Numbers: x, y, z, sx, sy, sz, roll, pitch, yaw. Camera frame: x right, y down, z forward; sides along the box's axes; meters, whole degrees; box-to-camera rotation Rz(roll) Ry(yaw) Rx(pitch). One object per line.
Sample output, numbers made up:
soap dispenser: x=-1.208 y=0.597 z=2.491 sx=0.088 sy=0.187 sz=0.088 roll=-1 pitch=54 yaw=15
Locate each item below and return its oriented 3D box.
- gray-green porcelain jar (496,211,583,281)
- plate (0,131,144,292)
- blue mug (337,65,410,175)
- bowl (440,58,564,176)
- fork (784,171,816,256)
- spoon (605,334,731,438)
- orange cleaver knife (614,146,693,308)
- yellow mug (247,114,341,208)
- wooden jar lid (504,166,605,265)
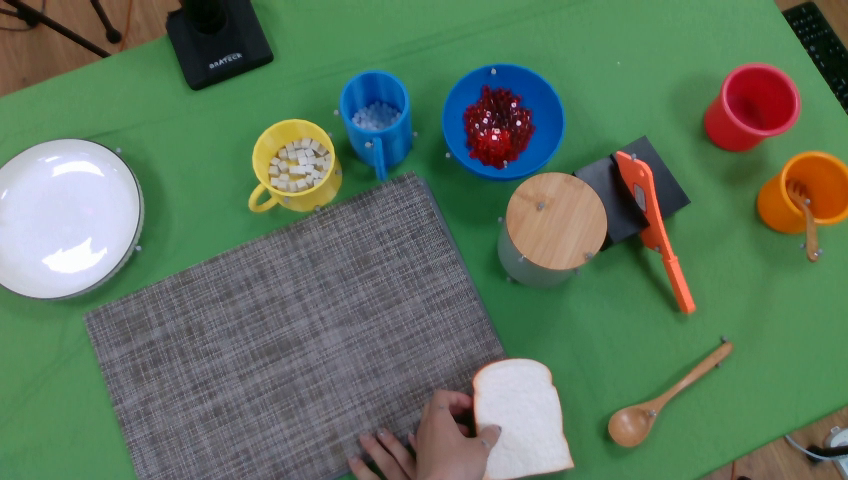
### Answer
gray-green porcelain jar: x=0.140 y=-0.010 z=0.710 sx=0.106 sy=0.127 sz=0.105 roll=0 pitch=76 yaw=0
plate: x=-0.452 y=-0.034 z=0.761 sx=0.208 sy=0.039 sz=0.206 roll=0 pitch=77 yaw=0
blue mug: x=-0.059 y=-0.139 z=0.751 sx=0.082 sy=0.106 sz=0.116 roll=-4 pitch=77 yaw=-1
bowl: x=0.094 y=-0.143 z=0.766 sx=0.151 sy=0.077 sz=0.150 roll=0 pitch=77 yaw=0
fork: x=0.439 y=-0.035 z=0.703 sx=0.028 sy=0.019 sz=0.206 roll=39 pitch=36 yaw=2
spoon: x=0.295 y=0.170 z=0.720 sx=0.194 sy=0.022 sz=0.041 roll=-35 pitch=61 yaw=-7
orange cleaver knife: x=0.276 y=-0.016 z=0.733 sx=0.012 sy=0.077 sz=0.212 roll=-26 pitch=104 yaw=-5
yellow mug: x=-0.170 y=-0.088 z=0.759 sx=0.099 sy=0.064 sz=0.131 roll=44 pitch=82 yaw=10
wooden jar lid: x=0.138 y=-0.025 z=0.649 sx=0.108 sy=0.021 sz=0.108 roll=1 pitch=78 yaw=-3
